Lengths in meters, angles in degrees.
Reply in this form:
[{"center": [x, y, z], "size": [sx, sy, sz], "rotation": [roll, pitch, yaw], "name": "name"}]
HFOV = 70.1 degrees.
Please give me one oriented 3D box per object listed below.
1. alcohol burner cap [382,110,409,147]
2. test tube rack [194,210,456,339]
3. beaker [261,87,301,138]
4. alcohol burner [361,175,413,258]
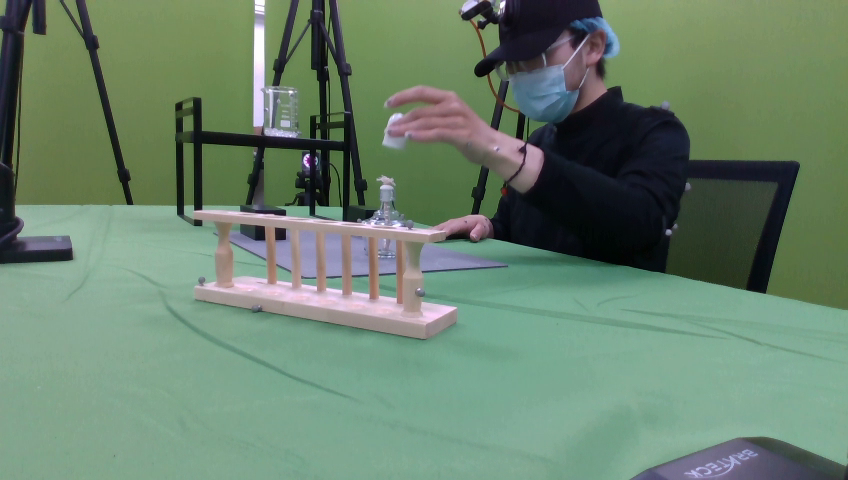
[{"center": [-0.037, -0.154, 0.829], "size": [0.034, 0.048, 0.034], "rotation": [14, 16, -4], "name": "alcohol burner cap"}, {"center": [-0.093, 0.023, 0.545], "size": [0.241, 0.085, 0.067], "rotation": [6, 8, 25], "name": "test tube rack"}, {"center": [-0.298, -0.263, 1.255], "size": [0.084, 0.100, 0.073], "rotation": [-4, 9, -40], "name": "beaker"}, {"center": [-0.054, -0.034, 0.871], "size": [0.078, 0.119, 0.078], "rotation": [1, 9, 0], "name": "alcohol burner"}]
